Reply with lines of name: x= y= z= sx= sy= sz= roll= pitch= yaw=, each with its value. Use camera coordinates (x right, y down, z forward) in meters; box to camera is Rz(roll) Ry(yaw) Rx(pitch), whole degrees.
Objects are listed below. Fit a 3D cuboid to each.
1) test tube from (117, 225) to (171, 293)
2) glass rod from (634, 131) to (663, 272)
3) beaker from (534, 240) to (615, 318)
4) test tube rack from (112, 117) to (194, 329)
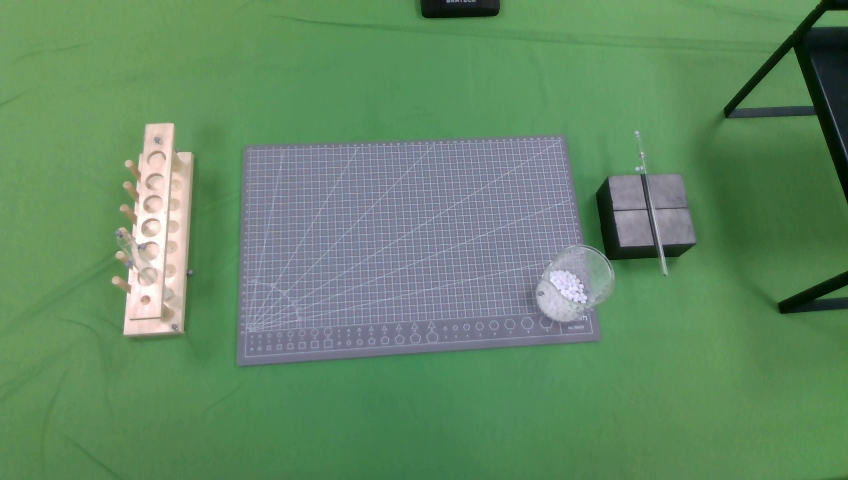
test tube: x=-0.304 y=0.025 z=0.665 sx=0.017 sy=0.151 sz=0.017 roll=3 pitch=63 yaw=-5
glass rod: x=0.290 y=-0.053 z=0.783 sx=0.008 sy=0.008 sz=0.198 roll=-1 pitch=71 yaw=-4
beaker: x=0.175 y=0.052 z=0.736 sx=0.084 sy=0.101 sz=0.073 roll=-1 pitch=70 yaw=-3
test tube rack: x=-0.330 y=-0.021 z=0.733 sx=0.067 sy=0.085 sz=0.240 roll=-3 pitch=70 yaw=-5
